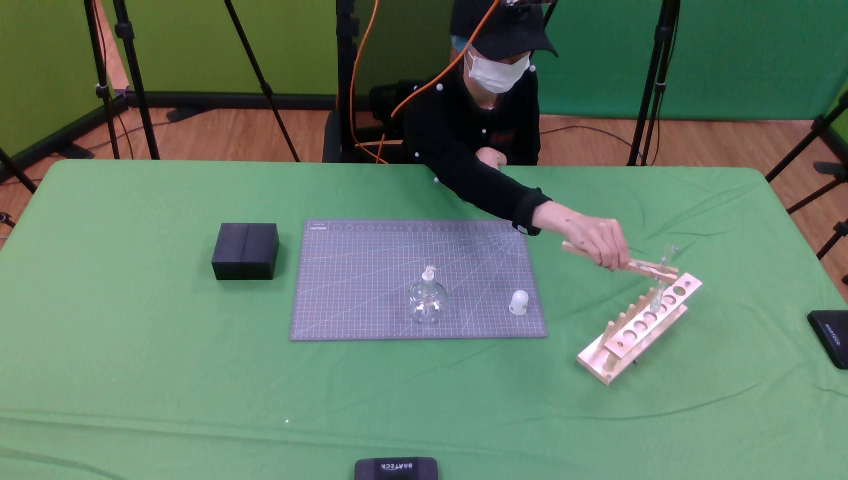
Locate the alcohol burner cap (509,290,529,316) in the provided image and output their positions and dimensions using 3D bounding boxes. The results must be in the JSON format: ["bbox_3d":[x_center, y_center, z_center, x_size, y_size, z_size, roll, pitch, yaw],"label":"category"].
[{"bbox_3d":[0.171,0.110,1.086,0.034,0.048,0.033,1,45,-1],"label":"alcohol burner cap"}]

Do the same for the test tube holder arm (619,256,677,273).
[{"bbox_3d":[0.347,0.040,0.944,0.087,0.015,0.010,11,45,14],"label":"test tube holder arm"}]

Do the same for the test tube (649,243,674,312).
[{"bbox_3d":[0.369,0.062,0.947,0.017,0.151,0.017,-5,43,4],"label":"test tube"}]

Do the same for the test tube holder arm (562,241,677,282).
[{"bbox_3d":[0.304,0.032,0.954,0.178,0.015,0.013,17,46,20],"label":"test tube holder arm"}]

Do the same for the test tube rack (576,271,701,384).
[{"bbox_3d":[0.373,0.138,1.047,0.242,0.085,0.066,-31,56,-29],"label":"test tube rack"}]

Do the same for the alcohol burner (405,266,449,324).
[{"bbox_3d":[0.005,0.089,1.043,0.078,0.120,0.077,1,45,-1],"label":"alcohol burner"}]
